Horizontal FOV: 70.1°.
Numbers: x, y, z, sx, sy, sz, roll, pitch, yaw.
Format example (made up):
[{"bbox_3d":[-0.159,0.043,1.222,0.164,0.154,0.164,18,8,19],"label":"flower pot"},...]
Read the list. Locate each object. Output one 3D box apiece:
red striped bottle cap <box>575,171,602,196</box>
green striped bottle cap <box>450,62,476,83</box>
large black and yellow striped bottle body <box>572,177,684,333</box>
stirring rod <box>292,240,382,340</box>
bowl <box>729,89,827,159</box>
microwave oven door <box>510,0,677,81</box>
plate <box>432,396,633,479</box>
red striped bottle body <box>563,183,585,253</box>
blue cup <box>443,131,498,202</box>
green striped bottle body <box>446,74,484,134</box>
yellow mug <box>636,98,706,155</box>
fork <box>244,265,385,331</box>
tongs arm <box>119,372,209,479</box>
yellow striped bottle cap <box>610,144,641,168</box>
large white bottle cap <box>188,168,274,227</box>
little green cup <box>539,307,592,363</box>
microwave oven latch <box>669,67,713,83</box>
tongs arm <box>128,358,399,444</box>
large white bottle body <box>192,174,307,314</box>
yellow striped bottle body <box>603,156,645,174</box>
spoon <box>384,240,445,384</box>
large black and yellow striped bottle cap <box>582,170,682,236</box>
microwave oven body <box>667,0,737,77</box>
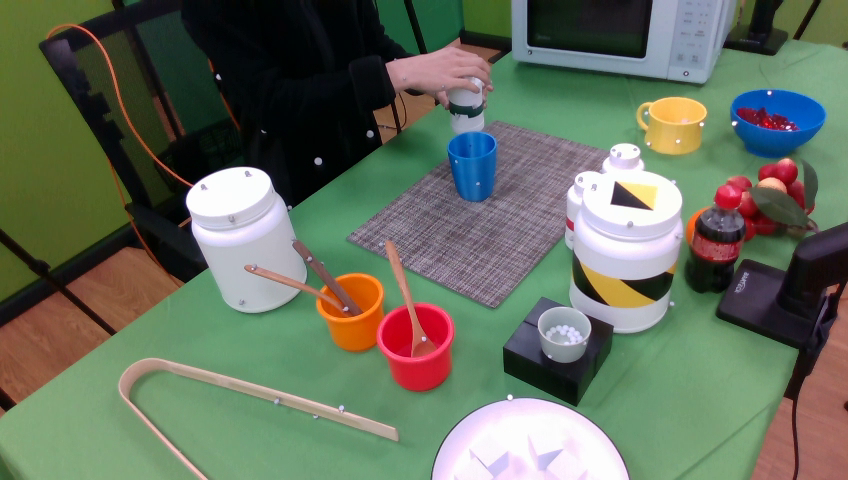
[{"bbox_3d":[0.242,-0.081,0.876,0.044,0.018,0.044,-5,44,5],"label":"red striped bottle cap"},{"bbox_3d":[0.067,-0.287,1.038,0.044,0.020,0.044,-5,43,5],"label":"green striped bottle cap"},{"bbox_3d":[0.262,0.017,0.788,0.131,0.185,0.130,-5,40,4],"label":"large black and yellow striped bottle body"},{"bbox_3d":[-0.119,0.068,0.826,0.176,0.006,0.014,49,58,-4],"label":"stirring rod"},{"bbox_3d":[0.615,-0.197,1.069,0.151,0.077,0.150,-5,40,5],"label":"bowl"},{"bbox_3d":[0.354,-0.478,1.290,0.353,0.245,0.039,15,45,25],"label":"microwave oven door"},{"bbox_3d":[0.112,0.261,0.634,0.209,0.038,0.208,-5,40,4],"label":"plate"},{"bbox_3d":[0.246,-0.041,0.910,0.063,0.120,0.062,-2,38,2],"label":"red striped bottle body"},{"bbox_3d":[0.087,-0.123,1.040,0.092,0.100,0.092,-5,42,5],"label":"blue cup"},{"bbox_3d":[0.073,-0.250,1.075,0.063,0.120,0.063,-5,44,5],"label":"green striped bottle body"},{"bbox_3d":[0.453,-0.217,1.129,0.100,0.064,0.129,-34,46,-27],"label":"yellow mug"},{"bbox_3d":[-0.142,0.078,0.806,0.209,0.018,0.028,30,32,-24],"label":"fork"},{"bbox_3d":[-0.258,0.257,0.700,0.384,0.028,0.028,24,55,34],"label":"tongs arm"},{"bbox_3d":[0.307,-0.128,0.923,0.044,0.019,0.044,-6,40,5],"label":"yellow striped bottle cap"},{"bbox_3d":[-0.264,-0.061,0.831,0.115,0.018,0.114,-4,40,4],"label":"large white bottle cap"},{"bbox_3d":[0.168,0.115,0.721,0.061,0.039,0.061,-4,42,4],"label":"little green cup"},{"bbox_3d":[0.556,-0.349,1.261,0.078,0.029,0.030,16,46,27],"label":"microwave oven latch"},{"bbox_3d":[-0.213,0.205,0.755,0.382,0.026,0.051,12,46,23],"label":"tongs arm"},{"bbox_3d":[-0.256,0.003,0.885,0.130,0.185,0.130,-5,40,4],"label":"large white bottle body"},{"bbox_3d":[0.313,-0.089,0.956,0.063,0.121,0.062,-5,40,4],"label":"yellow striped bottle body"},{"bbox_3d":[-0.016,0.090,0.776,0.042,0.021,0.193,-17,85,-10],"label":"spoon"},{"bbox_3d":[0.252,-0.048,0.735,0.115,0.019,0.114,-3,40,3],"label":"large black and yellow striped bottle cap"},{"bbox_3d":[0.462,-0.552,1.369,0.439,0.261,0.326,15,45,26],"label":"microwave oven body"}]
